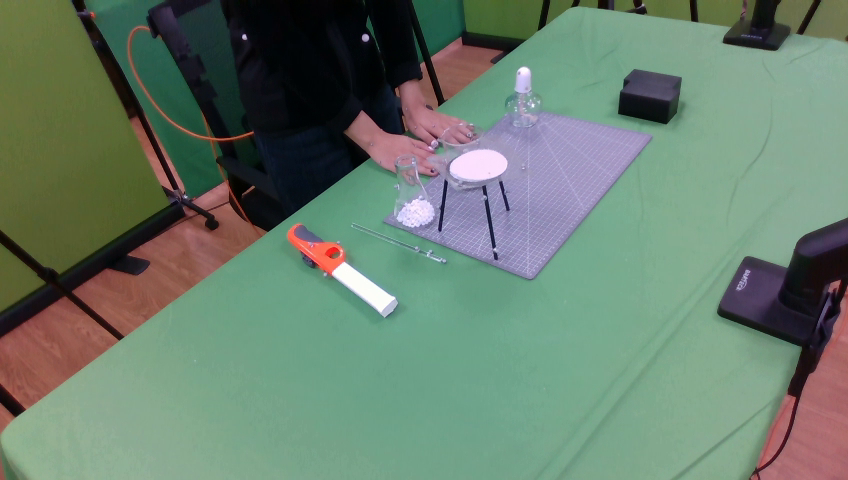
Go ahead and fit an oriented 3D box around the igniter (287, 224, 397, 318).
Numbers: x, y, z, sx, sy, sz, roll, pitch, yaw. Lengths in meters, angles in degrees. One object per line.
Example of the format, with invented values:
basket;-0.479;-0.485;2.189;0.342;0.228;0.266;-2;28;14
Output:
igniter;-0.139;0.042;0.958;0.057;0.025;0.274;-42;49;-19

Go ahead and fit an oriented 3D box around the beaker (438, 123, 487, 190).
beaker;0.072;-0.147;1.080;0.084;0.101;0.073;-5;40;7

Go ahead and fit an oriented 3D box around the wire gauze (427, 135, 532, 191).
wire gauze;0.081;-0.115;0.909;0.125;0.011;0.120;-18;39;-11

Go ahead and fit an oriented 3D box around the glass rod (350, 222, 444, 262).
glass rod;-0.048;0.001;1.003;0.198;0.008;0.008;21;49;31

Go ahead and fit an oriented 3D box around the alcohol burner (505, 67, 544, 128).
alcohol burner;0.201;-0.288;1.211;0.078;0.119;0.077;-6;38;5

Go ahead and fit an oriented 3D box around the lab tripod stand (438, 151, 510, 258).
lab tripod stand;0.087;-0.064;0.952;0.148;0.132;0.147;-6;38;5

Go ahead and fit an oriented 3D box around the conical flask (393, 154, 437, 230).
conical flask;-0.022;-0.082;1.003;0.075;0.122;0.075;-6;40;5

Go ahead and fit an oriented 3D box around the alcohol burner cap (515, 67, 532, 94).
alcohol burner cap;0.197;-0.315;1.187;0.034;0.048;0.033;-3;46;3
